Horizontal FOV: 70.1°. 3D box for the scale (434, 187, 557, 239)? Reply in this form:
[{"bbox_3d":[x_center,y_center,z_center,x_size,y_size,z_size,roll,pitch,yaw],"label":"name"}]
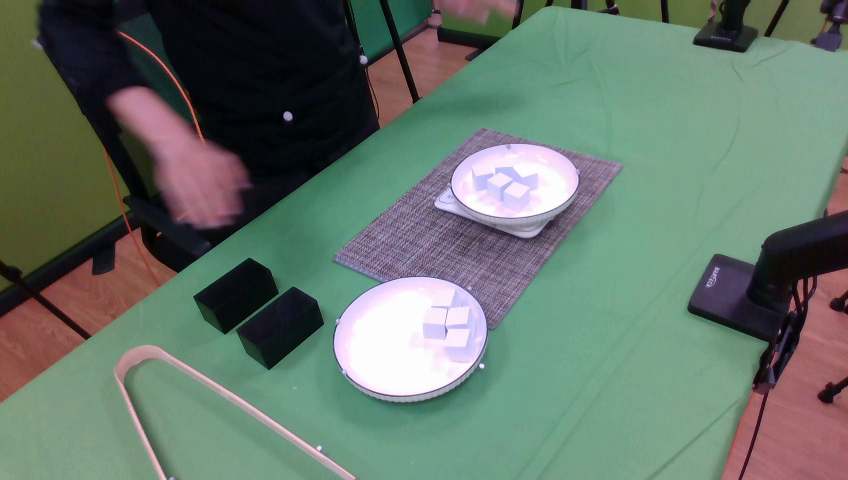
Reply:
[{"bbox_3d":[0.132,-0.075,1.025,0.199,0.032,0.149,22,48,30],"label":"scale"}]

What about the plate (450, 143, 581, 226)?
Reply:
[{"bbox_3d":[0.148,-0.087,0.986,0.209,0.038,0.208,-4,41,4],"label":"plate"}]

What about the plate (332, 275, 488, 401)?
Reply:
[{"bbox_3d":[-0.017,0.130,0.808,0.207,0.039,0.206,-4,41,4],"label":"plate"}]

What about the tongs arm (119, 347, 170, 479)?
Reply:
[{"bbox_3d":[-0.291,0.251,0.707,0.051,0.026,0.381,-32,45,-26],"label":"tongs arm"}]

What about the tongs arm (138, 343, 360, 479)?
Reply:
[{"bbox_3d":[-0.228,0.208,0.753,0.384,0.028,0.028,21,51,29],"label":"tongs arm"}]
